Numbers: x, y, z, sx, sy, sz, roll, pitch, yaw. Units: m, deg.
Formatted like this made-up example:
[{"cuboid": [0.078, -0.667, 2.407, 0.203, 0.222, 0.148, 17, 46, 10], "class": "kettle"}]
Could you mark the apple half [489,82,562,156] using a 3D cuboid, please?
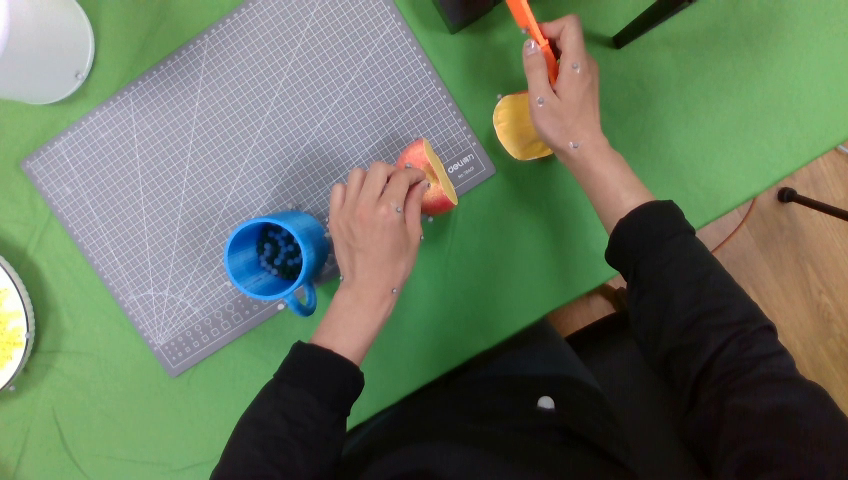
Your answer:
[{"cuboid": [0.106, -0.127, 0.648, 0.081, 0.032, 0.081, -1, 100, -5], "class": "apple half"}]

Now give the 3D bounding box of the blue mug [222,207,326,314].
[{"cuboid": [-0.147, 0.024, 0.640, 0.082, 0.105, 0.117, -24, 97, 5], "class": "blue mug"}]

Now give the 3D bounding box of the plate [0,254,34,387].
[{"cuboid": [-0.549, 0.085, 0.696, 0.209, 0.038, 0.209, 0, 99, 2], "class": "plate"}]

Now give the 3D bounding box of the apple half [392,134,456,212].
[{"cuboid": [-0.006, -0.065, 0.640, 0.053, 0.074, 0.081, -26, 100, 12], "class": "apple half"}]

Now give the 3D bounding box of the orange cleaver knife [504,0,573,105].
[{"cuboid": [0.090, -0.221, 0.575, 0.012, 0.076, 0.213, -34, 127, 6], "class": "orange cleaver knife"}]

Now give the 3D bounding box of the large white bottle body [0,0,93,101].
[{"cuboid": [-0.428, -0.208, 0.576, 0.130, 0.184, 0.131, 0, 97, 2], "class": "large white bottle body"}]
